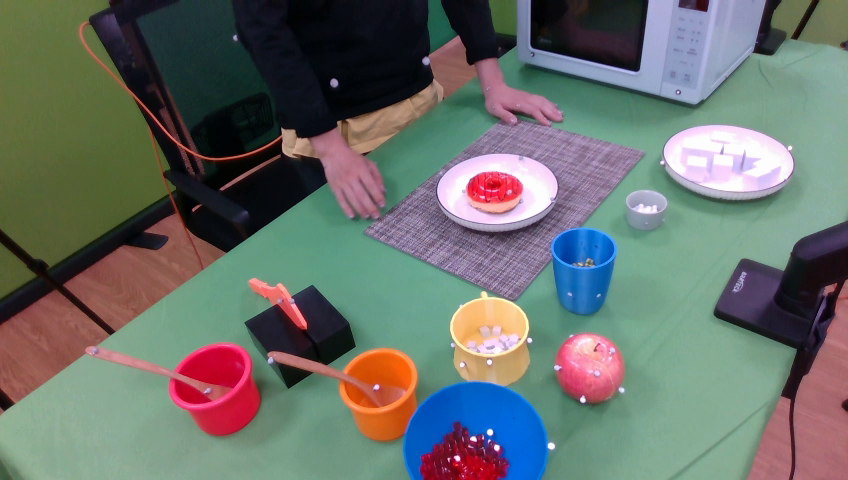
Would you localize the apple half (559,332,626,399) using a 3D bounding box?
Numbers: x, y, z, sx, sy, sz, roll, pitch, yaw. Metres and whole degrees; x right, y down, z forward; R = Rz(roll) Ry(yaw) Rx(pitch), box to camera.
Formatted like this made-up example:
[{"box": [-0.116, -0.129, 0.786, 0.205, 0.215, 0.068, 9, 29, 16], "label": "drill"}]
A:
[{"box": [0.209, 0.147, 0.730, 0.080, 0.075, 0.053, 26, 48, 38], "label": "apple half"}]

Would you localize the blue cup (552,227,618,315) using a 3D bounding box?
[{"box": [0.218, 0.047, 0.825, 0.092, 0.100, 0.092, -6, 39, 5], "label": "blue cup"}]

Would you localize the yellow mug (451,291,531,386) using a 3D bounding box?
[{"box": [0.086, 0.120, 0.786, 0.100, 0.064, 0.130, -7, 39, 2], "label": "yellow mug"}]

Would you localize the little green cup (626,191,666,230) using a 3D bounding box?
[{"box": [0.352, -0.046, 0.963, 0.061, 0.039, 0.061, -4, 40, 4], "label": "little green cup"}]

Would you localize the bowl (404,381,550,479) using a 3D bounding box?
[{"box": [0.058, 0.235, 0.645, 0.151, 0.077, 0.150, -4, 39, 4], "label": "bowl"}]

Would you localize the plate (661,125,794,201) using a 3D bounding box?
[{"box": [0.513, -0.128, 1.035, 0.207, 0.039, 0.206, -4, 40, 4], "label": "plate"}]

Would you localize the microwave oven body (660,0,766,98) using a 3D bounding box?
[{"box": [0.472, -0.513, 1.317, 0.438, 0.261, 0.327, 26, 51, 34], "label": "microwave oven body"}]

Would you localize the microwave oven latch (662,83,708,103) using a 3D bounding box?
[{"box": [0.517, -0.296, 1.204, 0.078, 0.029, 0.030, 27, 52, 35], "label": "microwave oven latch"}]

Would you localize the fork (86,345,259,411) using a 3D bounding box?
[{"box": [-0.298, 0.167, 0.728, 0.209, 0.018, 0.028, 28, 47, -23], "label": "fork"}]

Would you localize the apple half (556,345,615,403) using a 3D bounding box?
[{"box": [0.181, 0.166, 0.709, 0.080, 0.081, 0.033, 29, 50, 35], "label": "apple half"}]

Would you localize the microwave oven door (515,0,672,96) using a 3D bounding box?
[{"box": [0.343, -0.454, 1.259, 0.353, 0.245, 0.039, 26, 51, 33], "label": "microwave oven door"}]

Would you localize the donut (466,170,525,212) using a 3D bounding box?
[{"box": [0.120, -0.083, 1.019, 0.099, 0.048, 0.098, -4, 39, 3], "label": "donut"}]

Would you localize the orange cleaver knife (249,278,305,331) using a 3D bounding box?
[{"box": [-0.210, 0.089, 0.855, 0.012, 0.077, 0.210, -28, 15, -25], "label": "orange cleaver knife"}]

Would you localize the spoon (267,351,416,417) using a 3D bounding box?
[{"box": [-0.091, 0.163, 0.699, 0.021, 0.195, 0.041, -44, 30, 27], "label": "spoon"}]

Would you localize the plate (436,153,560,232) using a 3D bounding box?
[{"box": [0.125, -0.078, 1.029, 0.209, 0.038, 0.208, -4, 40, 4], "label": "plate"}]
